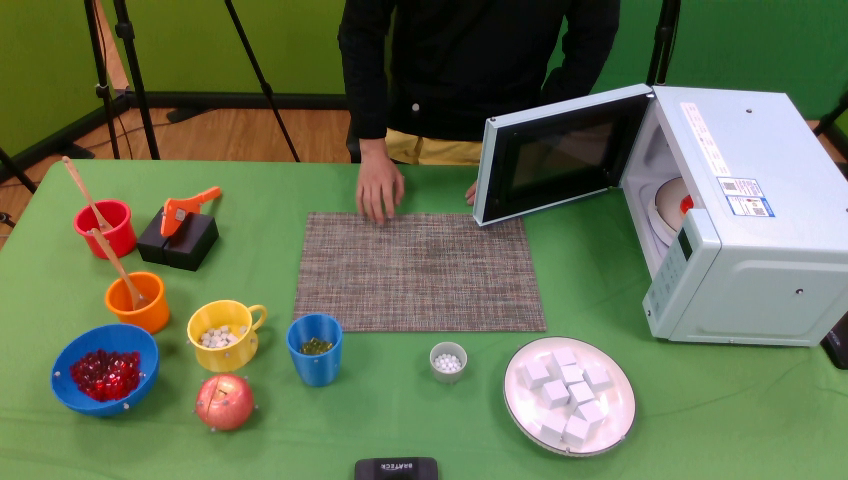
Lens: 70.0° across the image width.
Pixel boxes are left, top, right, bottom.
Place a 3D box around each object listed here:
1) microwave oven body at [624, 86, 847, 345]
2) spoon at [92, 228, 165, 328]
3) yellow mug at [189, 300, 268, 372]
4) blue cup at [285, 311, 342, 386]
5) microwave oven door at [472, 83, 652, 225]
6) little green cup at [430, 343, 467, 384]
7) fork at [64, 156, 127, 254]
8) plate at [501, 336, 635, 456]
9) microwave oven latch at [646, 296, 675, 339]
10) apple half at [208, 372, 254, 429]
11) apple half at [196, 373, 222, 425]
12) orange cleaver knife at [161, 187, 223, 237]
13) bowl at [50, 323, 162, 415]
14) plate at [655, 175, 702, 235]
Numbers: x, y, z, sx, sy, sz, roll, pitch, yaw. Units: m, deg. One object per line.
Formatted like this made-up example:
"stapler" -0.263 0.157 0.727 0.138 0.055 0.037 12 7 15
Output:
"microwave oven body" 0.567 -0.053 1.118 0.326 0.261 0.439 2 45 -1
"spoon" -0.496 0.063 1.014 0.041 0.194 0.021 -33 12 -31
"yellow mug" -0.315 0.148 1.001 0.131 0.064 0.099 -33 55 -31
"blue cup" -0.170 0.179 0.958 0.093 0.101 0.092 2 44 -1
"microwave oven door" 0.272 -0.171 1.205 0.356 0.245 0.039 -16 50 -18
"little green cup" 0.038 0.203 0.994 0.061 0.039 0.061 2 46 -2
"fork" -0.614 -0.064 1.130 0.028 0.018 0.207 -29 97 -16
"plate" 0.225 0.248 0.963 0.208 0.039 0.206 2 46 -2
"microwave oven latch" 0.412 0.134 1.061 0.030 0.029 0.078 4 45 1
"apple half" -0.282 0.244 0.908 0.053 0.075 0.080 7 43 -1
"apple half" -0.322 0.239 0.907 0.033 0.081 0.081 7 46 0
"orange cleaver knife" -0.448 -0.058 1.180 0.012 0.077 0.211 13 17 6
"bowl" -0.472 0.209 0.924 0.151 0.077 0.150 3 45 -2
"plate" 0.555 -0.047 1.182 0.209 0.038 0.208 1 45 -1
